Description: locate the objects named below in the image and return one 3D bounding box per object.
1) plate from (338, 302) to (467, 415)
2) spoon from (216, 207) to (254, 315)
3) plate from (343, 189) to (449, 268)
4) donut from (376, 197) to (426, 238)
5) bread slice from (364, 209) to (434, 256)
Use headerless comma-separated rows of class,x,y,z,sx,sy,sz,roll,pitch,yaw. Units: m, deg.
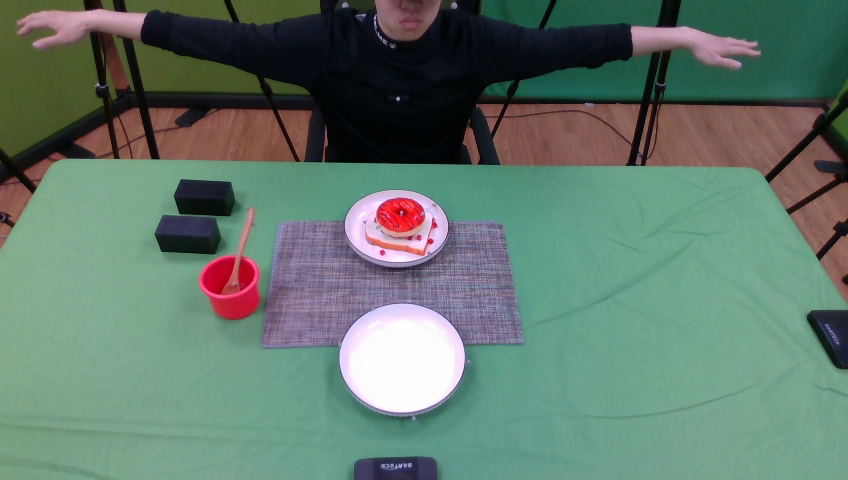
plate,-0.035,0.194,0.992,0.208,0.039,0.206,2,48,-2
spoon,-0.322,0.036,1.053,0.041,0.021,0.193,14,90,11
plate,-0.055,-0.020,1.195,0.209,0.038,0.208,2,46,-2
donut,-0.045,-0.046,1.174,0.099,0.048,0.098,3,45,-3
bread slice,-0.053,-0.020,1.199,0.131,0.019,0.104,10,46,4
